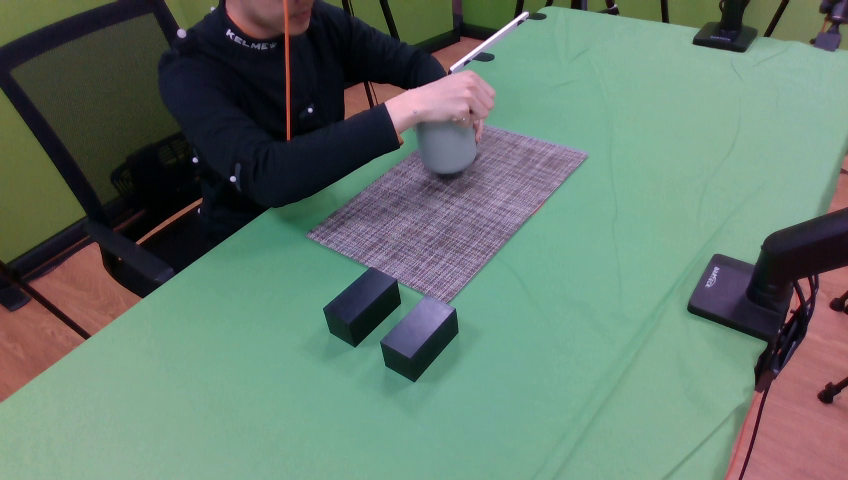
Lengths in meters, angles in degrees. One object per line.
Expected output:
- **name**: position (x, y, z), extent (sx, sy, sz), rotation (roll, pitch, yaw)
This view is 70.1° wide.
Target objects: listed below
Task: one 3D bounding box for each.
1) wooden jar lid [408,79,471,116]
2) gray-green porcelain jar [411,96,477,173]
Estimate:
- **wooden jar lid**: position (0.028, -0.237, 1.023), extent (0.108, 0.021, 0.108), rotation (-11, 41, 10)
- **gray-green porcelain jar**: position (0.037, -0.191, 1.066), extent (0.106, 0.127, 0.105), rotation (-6, 42, 6)
